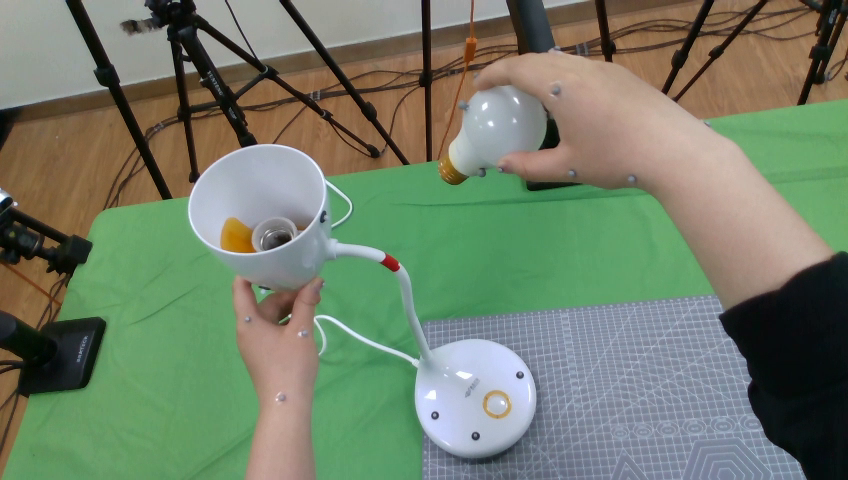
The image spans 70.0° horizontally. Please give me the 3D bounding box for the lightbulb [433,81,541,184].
[{"bbox_3d":[0.041,-0.073,0.450,0.060,0.107,0.059,15,59,-27],"label":"lightbulb"}]

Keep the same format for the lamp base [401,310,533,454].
[{"bbox_3d":[0.037,0.156,0.742,0.178,0.182,0.160,15,60,25],"label":"lamp base"}]

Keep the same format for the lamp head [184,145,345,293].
[{"bbox_3d":[-0.131,-0.006,0.536,0.112,0.124,0.111,-4,58,7],"label":"lamp head"}]
